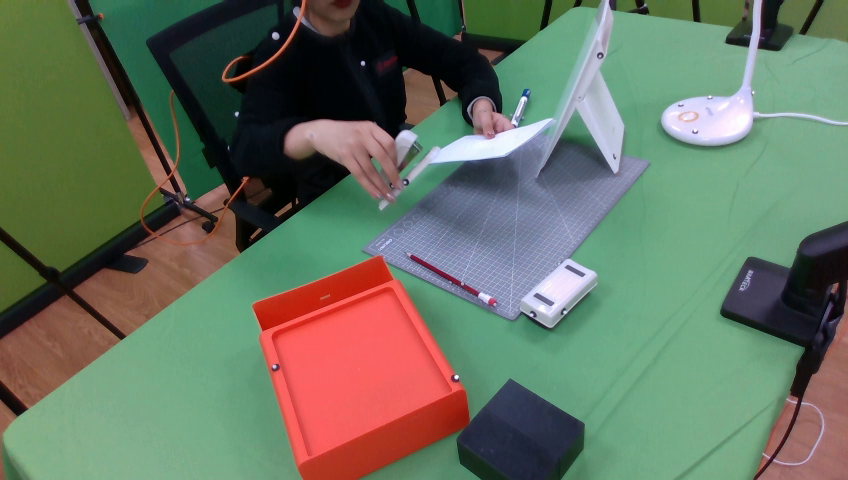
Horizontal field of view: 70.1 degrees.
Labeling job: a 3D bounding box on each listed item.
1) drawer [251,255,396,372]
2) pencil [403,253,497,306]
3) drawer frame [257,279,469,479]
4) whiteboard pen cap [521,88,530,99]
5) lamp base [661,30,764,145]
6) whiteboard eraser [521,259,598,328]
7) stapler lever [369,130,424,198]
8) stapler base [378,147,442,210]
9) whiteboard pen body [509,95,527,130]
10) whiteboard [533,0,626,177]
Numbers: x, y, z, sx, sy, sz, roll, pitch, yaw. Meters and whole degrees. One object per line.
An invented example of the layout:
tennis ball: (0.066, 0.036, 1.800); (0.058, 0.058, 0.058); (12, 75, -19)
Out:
drawer: (-0.105, 0.135, 0.798); (0.195, 0.073, 0.210); (-20, 42, -14)
pencil: (0.034, 0.056, 0.914); (0.192, 0.012, 0.012); (27, 52, 38)
drawer frame: (-0.080, 0.169, 0.751); (0.202, 0.083, 0.211); (-21, 42, -15)
whiteboard pen cap: (0.219, -0.312, 1.301); (0.018, 0.018, 0.033); (6, 47, 17)
lamp base: (0.535, -0.287, 1.096); (0.179, 0.181, 0.159); (-10, 40, -4)
whiteboard eraser: (0.189, 0.075, 0.843); (0.055, 0.042, 0.113); (29, 53, 37)
stapler lever: (-0.047, -0.113, 0.893); (0.040, 0.118, 0.027); (42, 30, -7)
stapler base: (-0.027, -0.097, 0.897); (0.024, 0.130, 0.041); (43, 30, -7)
whiteboard pen body: (0.199, -0.273, 1.262); (0.017, 0.017, 0.140); (7, 44, 18)
whiteboard: (0.321, -0.258, 1.050); (0.144, 0.306, 0.217); (21, 45, 5)
